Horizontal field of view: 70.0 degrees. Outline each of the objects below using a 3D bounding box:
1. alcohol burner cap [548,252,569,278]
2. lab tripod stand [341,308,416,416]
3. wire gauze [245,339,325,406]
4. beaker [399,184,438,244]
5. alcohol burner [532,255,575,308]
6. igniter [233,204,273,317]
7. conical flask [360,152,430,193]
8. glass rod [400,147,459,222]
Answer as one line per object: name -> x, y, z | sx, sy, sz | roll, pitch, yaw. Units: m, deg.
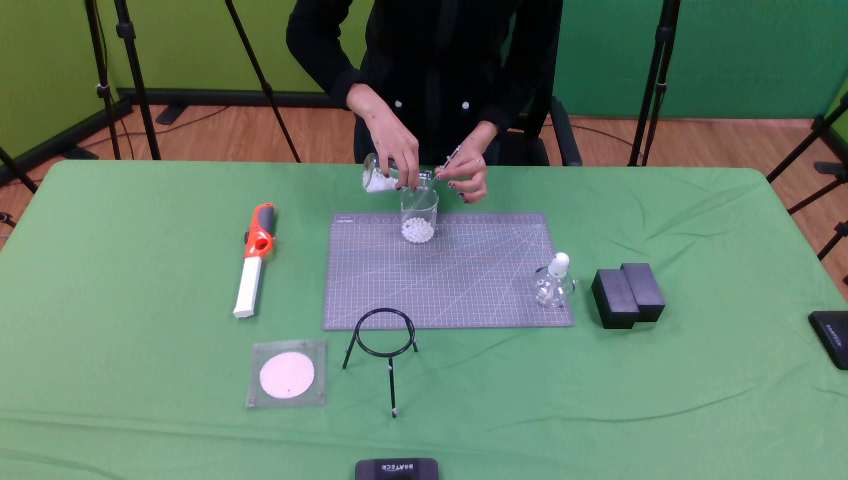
alcohol burner cap -> 0.238, 0.042, 1.060 | 0.034, 0.048, 0.033 | 1, 53, -1
lab tripod stand -> -0.061, 0.177, 0.946 | 0.148, 0.132, 0.147 | 2, 44, -2
wire gauze -> -0.224, 0.214, 0.984 | 0.125, 0.011, 0.120 | -2, 46, -5
beaker -> -0.015, -0.046, 1.186 | 0.073, 0.101, 0.084 | 36, 54, 27
alcohol burner -> 0.235, 0.066, 1.087 | 0.078, 0.119, 0.077 | 4, 45, -3
igniter -> -0.321, 0.029, 1.142 | 0.057, 0.025, 0.274 | -8, 46, 4
conical flask -> -0.051, -0.117, 1.113 | 0.122, 0.075, 0.075 | 6, 43, -23
glass rod -> 0.007, -0.102, 1.145 | 0.008, 0.200, 0.008 | 27, 34, -20
